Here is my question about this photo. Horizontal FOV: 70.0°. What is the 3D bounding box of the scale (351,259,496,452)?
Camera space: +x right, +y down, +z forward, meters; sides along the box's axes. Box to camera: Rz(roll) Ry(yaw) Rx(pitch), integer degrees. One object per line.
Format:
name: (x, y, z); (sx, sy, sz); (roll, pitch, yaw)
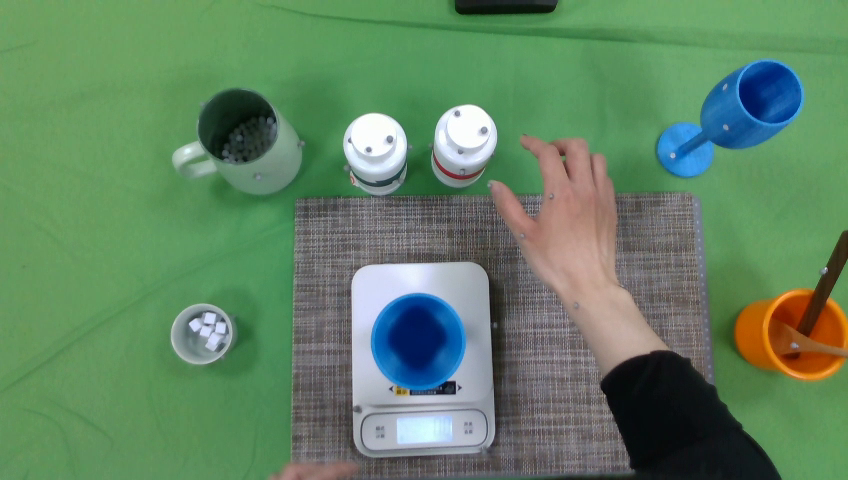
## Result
scale: (-0.001, 0.121, 0.640); (0.149, 0.031, 0.200); (-2, 83, -2)

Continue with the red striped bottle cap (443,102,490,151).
red striped bottle cap: (0.041, -0.109, 0.579); (0.044, 0.018, 0.044); (0, 84, -1)

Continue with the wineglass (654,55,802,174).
wineglass: (0.299, -0.120, 0.616); (0.074, 0.172, 0.073); (0, 82, -1)

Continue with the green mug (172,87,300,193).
green mug: (-0.197, -0.095, 0.628); (0.125, 0.105, 0.092); (-23, 84, -5)

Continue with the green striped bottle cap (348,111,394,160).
green striped bottle cap: (-0.051, -0.099, 0.574); (0.044, 0.020, 0.044); (0, 82, -2)

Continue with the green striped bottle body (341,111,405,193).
green striped bottle body: (-0.051, -0.091, 0.626); (0.063, 0.119, 0.063); (0, 82, -2)

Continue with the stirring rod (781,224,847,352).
stirring rod: (0.395, 0.054, 0.610); (0.014, 0.178, 0.006); (5, 41, 11)

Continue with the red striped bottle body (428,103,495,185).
red striped bottle body: (0.038, -0.100, 0.630); (0.063, 0.120, 0.063); (0, 82, -2)

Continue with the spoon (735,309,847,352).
spoon: (0.415, 0.106, 0.604); (0.022, 0.192, 0.041); (13, 89, -44)

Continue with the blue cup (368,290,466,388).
blue cup: (-0.007, 0.091, 0.578); (0.093, 0.100, 0.092); (0, 84, -2)

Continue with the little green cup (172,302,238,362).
little green cup: (-0.226, 0.096, 0.634); (0.061, 0.039, 0.061); (1, 82, -3)
